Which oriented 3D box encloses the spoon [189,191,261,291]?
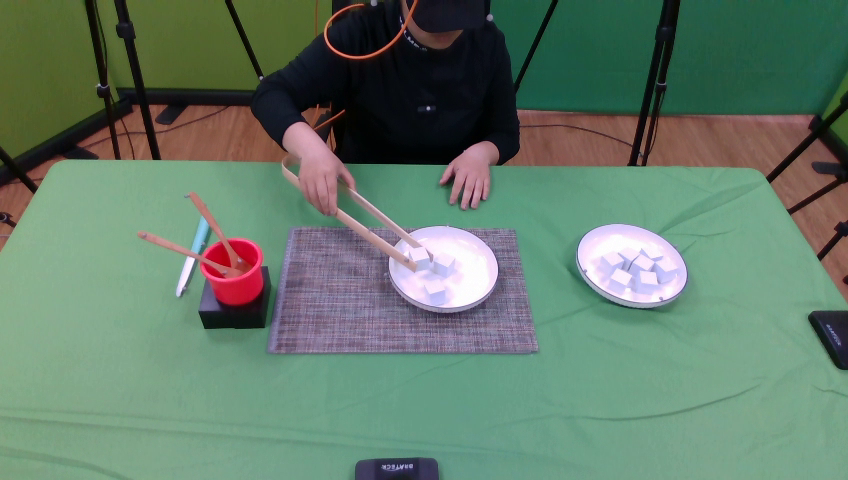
[{"bbox_3d":[-0.333,0.001,1.012,0.041,0.194,0.021,-34,15,-25],"label":"spoon"}]

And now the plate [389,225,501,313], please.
[{"bbox_3d":[0.038,0.057,1.129,0.208,0.039,0.206,2,46,-2],"label":"plate"}]

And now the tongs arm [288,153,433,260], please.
[{"bbox_3d":[-0.129,-0.073,1.183,0.386,0.028,0.028,36,57,24],"label":"tongs arm"}]

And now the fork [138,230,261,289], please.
[{"bbox_3d":[-0.360,0.032,0.981,0.208,0.018,0.028,31,60,-30],"label":"fork"}]

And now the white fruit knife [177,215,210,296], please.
[{"bbox_3d":[-0.435,0.025,1.148,0.027,0.016,0.206,-17,45,18],"label":"white fruit knife"}]

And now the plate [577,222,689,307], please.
[{"bbox_3d":[0.396,0.050,1.165,0.209,0.038,0.208,2,47,-2],"label":"plate"}]

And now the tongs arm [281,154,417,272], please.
[{"bbox_3d":[-0.149,-0.059,1.167,0.383,0.026,0.050,33,52,22],"label":"tongs arm"}]
